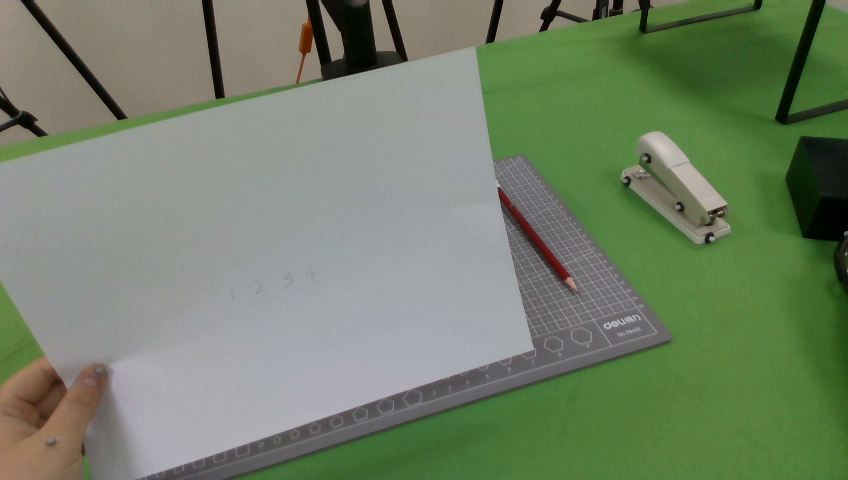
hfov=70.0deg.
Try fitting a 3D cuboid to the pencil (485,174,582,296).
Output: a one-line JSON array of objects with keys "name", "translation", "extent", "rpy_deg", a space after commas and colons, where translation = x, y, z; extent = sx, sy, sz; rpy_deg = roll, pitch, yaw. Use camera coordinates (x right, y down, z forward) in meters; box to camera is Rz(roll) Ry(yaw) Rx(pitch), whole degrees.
[{"name": "pencil", "translation": [0.104, -0.010, 0.595], "extent": [0.012, 0.012, 0.191], "rpy_deg": [-17, 44, -13]}]

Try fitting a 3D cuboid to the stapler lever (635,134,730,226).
[{"name": "stapler lever", "translation": [0.251, -0.062, 0.593], "extent": [0.027, 0.040, 0.116], "rpy_deg": [-20, 44, -12]}]

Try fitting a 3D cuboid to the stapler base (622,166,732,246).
[{"name": "stapler base", "translation": [0.252, -0.044, 0.611], "extent": [0.041, 0.025, 0.129], "rpy_deg": [-20, 44, -12]}]

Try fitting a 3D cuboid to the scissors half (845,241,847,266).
[{"name": "scissors half", "translation": [0.383, -0.031, 0.517], "extent": [0.040, 0.013, 0.174], "rpy_deg": [19, 69, 2]}]
